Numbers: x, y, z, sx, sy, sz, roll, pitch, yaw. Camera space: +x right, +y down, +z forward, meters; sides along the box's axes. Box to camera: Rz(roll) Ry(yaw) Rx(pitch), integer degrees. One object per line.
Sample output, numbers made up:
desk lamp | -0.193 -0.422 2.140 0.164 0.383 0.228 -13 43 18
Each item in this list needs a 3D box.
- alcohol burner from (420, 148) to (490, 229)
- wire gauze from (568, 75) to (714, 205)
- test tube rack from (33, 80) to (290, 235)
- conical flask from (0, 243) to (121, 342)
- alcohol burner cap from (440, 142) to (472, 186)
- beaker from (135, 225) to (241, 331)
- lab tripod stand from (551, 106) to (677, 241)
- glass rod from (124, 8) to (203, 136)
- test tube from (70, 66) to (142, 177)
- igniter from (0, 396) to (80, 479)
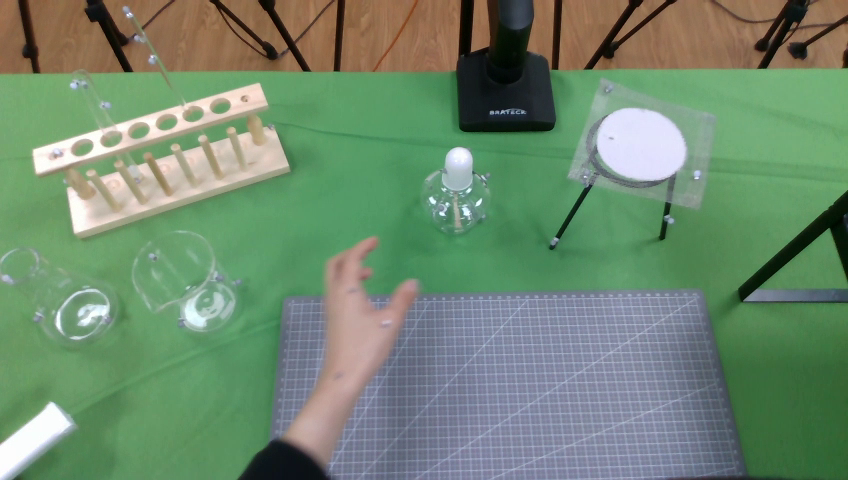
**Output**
alcohol burner | 0.034 -0.062 0.650 0.078 0.120 0.077 1 61 -1
wire gauze | 0.212 -0.098 0.583 0.121 0.011 0.124 19 65 7
test tube rack | -0.283 -0.091 0.675 0.242 0.086 0.066 -20 65 -11
conical flask | -0.354 0.046 0.583 0.075 0.123 0.074 0 62 0
alcohol burner cap | 0.034 -0.080 0.618 0.034 0.048 0.033 1 62 -1
beaker | -0.229 0.045 0.599 0.074 0.101 0.083 12 64 7
lab tripod stand | 0.204 -0.065 0.642 0.148 0.132 0.147 1 62 -1
glass rod | -0.260 -0.154 0.633 0.008 0.201 0.008 -3 57 5
test tube | -0.327 -0.117 0.632 0.017 0.151 0.017 1 56 -1
igniter | -0.411 0.236 0.486 0.057 0.025 0.276 40 66 16
